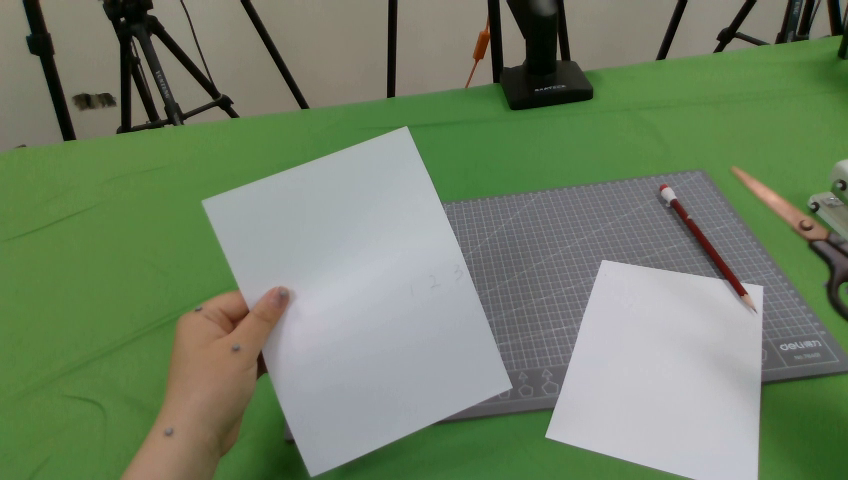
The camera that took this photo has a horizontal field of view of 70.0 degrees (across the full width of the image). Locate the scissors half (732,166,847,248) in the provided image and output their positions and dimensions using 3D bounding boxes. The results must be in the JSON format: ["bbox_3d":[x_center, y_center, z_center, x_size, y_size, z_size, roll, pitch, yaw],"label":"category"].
[{"bbox_3d":[0.300,-0.009,0.444,0.040,0.013,0.173,-27,50,-22],"label":"scissors half"}]

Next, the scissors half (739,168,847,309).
[{"bbox_3d":[0.281,-0.001,0.440,0.040,0.013,0.173,-16,47,-6],"label":"scissors half"}]

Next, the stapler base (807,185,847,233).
[{"bbox_3d":[0.424,-0.020,0.580,0.041,0.025,0.129,-12,41,-1],"label":"stapler base"}]

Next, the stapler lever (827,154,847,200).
[{"bbox_3d":[0.422,-0.038,0.563,0.027,0.040,0.117,-12,41,-1],"label":"stapler lever"}]

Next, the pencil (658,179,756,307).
[{"bbox_3d":[0.274,-0.004,0.594,0.012,0.012,0.192,-10,41,-1],"label":"pencil"}]
